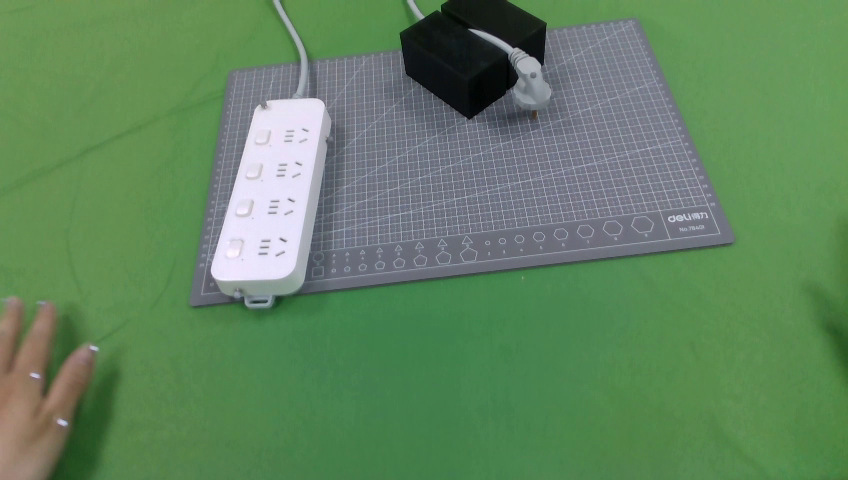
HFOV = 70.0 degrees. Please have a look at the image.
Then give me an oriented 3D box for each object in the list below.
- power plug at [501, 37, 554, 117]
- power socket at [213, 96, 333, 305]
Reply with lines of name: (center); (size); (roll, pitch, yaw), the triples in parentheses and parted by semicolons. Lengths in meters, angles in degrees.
power plug: (0.098, -0.155, 0.576); (0.035, 0.053, 0.072); (-11, 58, -5)
power socket: (-0.131, -0.048, 0.546); (0.072, 0.033, 0.224); (0, 55, 5)
